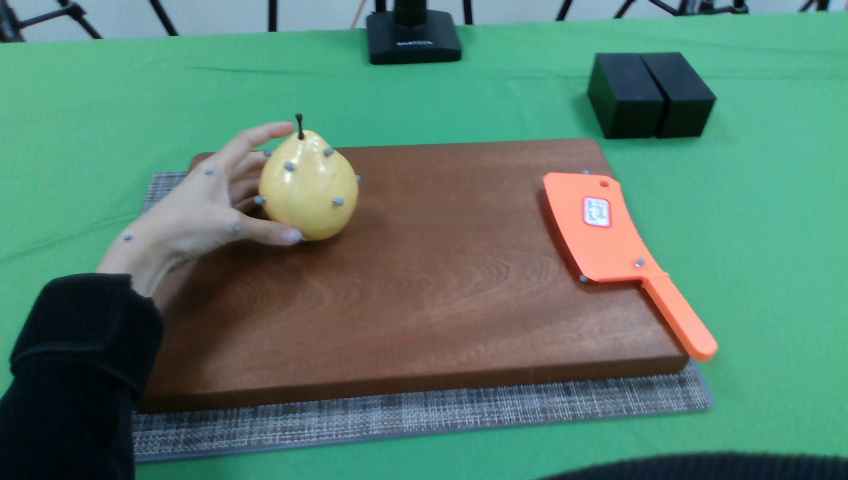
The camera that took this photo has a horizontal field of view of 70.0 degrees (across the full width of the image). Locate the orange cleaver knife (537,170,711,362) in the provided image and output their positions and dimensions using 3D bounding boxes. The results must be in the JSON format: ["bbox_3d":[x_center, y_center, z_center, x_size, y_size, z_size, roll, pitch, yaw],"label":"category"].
[{"bbox_3d":[0.154,0.010,0.492,0.077,0.012,0.209,-7,48,-13],"label":"orange cleaver knife"}]

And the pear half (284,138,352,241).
[{"bbox_3d":[-0.077,-0.037,0.481,0.031,0.089,0.070,19,42,17],"label":"pear half"}]

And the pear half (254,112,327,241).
[{"bbox_3d":[-0.108,-0.057,0.486,0.055,0.111,0.076,21,41,18],"label":"pear half"}]
